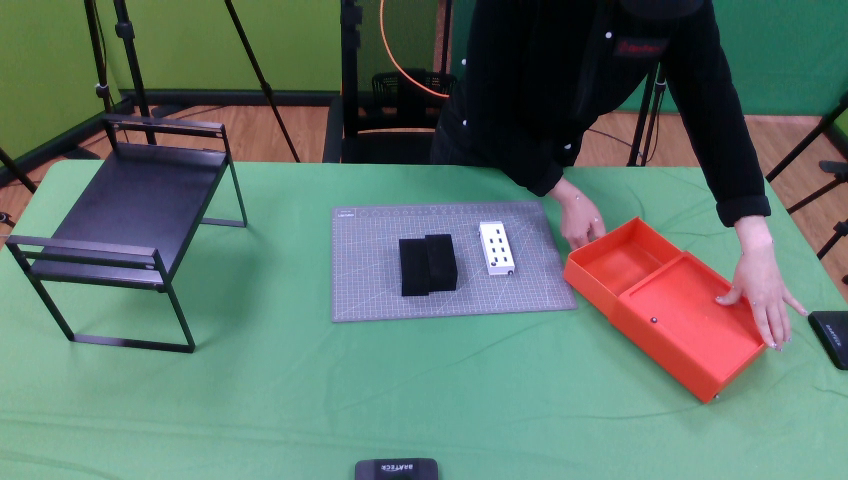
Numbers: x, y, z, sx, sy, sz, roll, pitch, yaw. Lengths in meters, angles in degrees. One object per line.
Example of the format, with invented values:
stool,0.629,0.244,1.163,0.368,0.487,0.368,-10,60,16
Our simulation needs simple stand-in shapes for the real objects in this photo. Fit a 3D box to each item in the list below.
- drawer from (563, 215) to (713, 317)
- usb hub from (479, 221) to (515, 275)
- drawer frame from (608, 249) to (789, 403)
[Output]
drawer,0.400,0.071,1.115,0.194,0.073,0.210,-25,52,-26
usb hub,0.141,0.014,1.187,0.049,0.025,0.124,-3,46,-6
drawer frame,0.470,0.139,1.051,0.202,0.083,0.212,-28,55,-27
